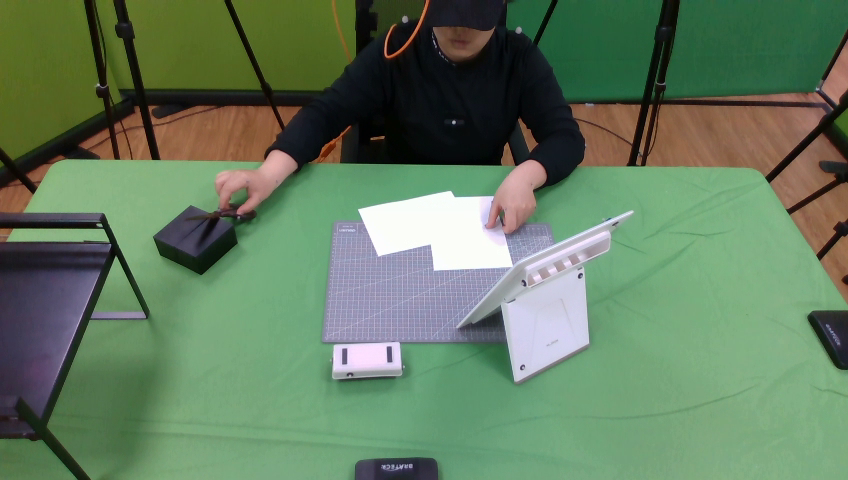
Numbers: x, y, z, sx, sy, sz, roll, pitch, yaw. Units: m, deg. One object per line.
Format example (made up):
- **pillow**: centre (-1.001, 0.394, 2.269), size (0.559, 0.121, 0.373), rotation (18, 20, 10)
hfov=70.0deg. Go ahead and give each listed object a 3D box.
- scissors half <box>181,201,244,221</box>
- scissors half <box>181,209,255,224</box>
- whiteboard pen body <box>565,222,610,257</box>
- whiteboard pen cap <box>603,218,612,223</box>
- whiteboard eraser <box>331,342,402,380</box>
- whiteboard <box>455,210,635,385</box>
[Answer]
- **scissors half**: centre (-0.405, -0.054, 1.164), size (0.040, 0.013, 0.175), rotation (29, 19, 9)
- **scissors half**: centre (-0.390, -0.042, 1.158), size (0.040, 0.013, 0.175), rotation (41, 23, 22)
- **whiteboard pen body**: centre (0.334, -0.004, 1.229), size (0.141, 0.017, 0.017), rotation (-33, 56, -29)
- **whiteboard pen cap**: centre (0.378, -0.031, 1.255), size (0.033, 0.018, 0.018), rotation (-33, 57, -29)
- **whiteboard eraser**: centre (-0.094, 0.198, 0.986), size (0.113, 0.042, 0.055), rotation (-2, 44, -6)
- **whiteboard**: centre (0.211, 0.111, 0.955), size (0.217, 0.306, 0.143), rotation (-20, 71, -23)
